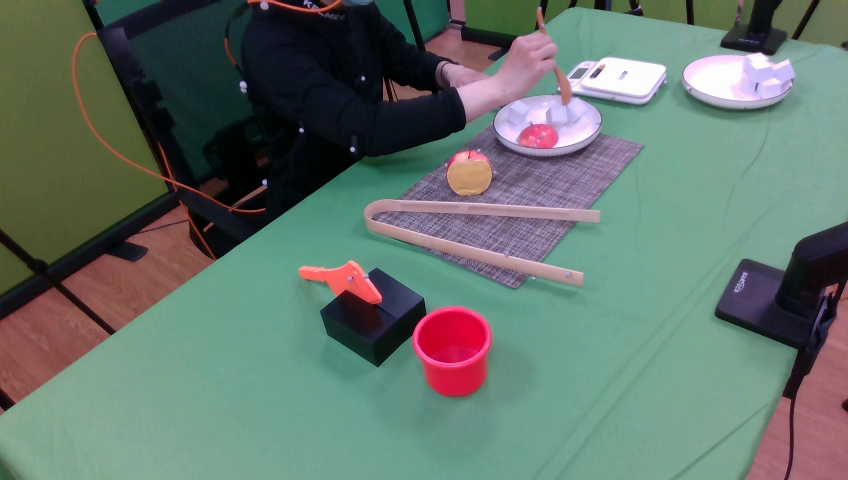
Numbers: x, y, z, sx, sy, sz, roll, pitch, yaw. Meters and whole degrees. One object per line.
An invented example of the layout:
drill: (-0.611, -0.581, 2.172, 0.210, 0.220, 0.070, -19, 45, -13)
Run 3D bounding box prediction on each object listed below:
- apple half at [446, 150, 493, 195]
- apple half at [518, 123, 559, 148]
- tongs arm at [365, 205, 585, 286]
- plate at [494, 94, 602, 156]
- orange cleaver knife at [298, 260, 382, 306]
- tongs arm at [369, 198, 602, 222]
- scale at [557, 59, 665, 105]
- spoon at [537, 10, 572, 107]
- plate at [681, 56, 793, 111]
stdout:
apple half: (0.080, -0.123, 1.065, 0.081, 0.075, 0.053, -7, 36, 6)
apple half: (0.221, -0.207, 1.160, 0.081, 0.033, 0.081, -6, 42, 6)
tongs arm: (0.067, 0.004, 0.951, 0.382, 0.026, 0.051, 13, 45, 23)
plate: (0.240, -0.221, 1.181, 0.209, 0.038, 0.208, -4, 41, 4)
orange cleaver knife: (-0.125, 0.063, 0.876, 0.012, 0.077, 0.210, -38, 19, -30)
tongs arm: (0.097, -0.048, 1.009, 0.386, 0.028, 0.028, 3, 46, 13)
scale: (0.407, -0.348, 1.314, 0.199, 0.032, 0.149, 19, 47, 28)
spoon: (0.244, -0.339, 1.137, 0.021, 0.195, 0.041, 0, 40, 44)
plate: (0.636, -0.317, 1.239, 0.207, 0.039, 0.206, -4, 40, 4)
